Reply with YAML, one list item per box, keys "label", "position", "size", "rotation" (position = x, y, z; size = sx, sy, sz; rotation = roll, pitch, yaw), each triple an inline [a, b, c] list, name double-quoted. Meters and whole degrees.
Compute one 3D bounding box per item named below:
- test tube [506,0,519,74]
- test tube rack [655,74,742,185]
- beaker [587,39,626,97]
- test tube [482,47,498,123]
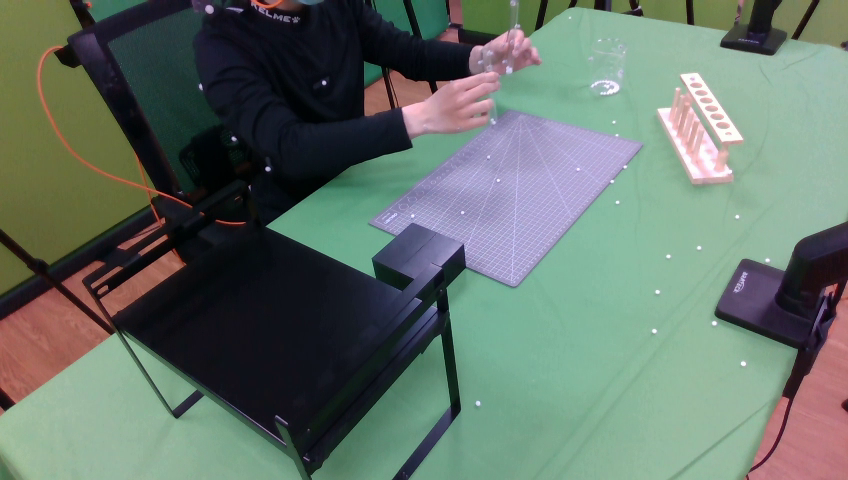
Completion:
- label: "test tube"
  position: [0.169, -0.388, 1.163]
  size: [0.017, 0.151, 0.017]
  rotation: [-1, 47, 1]
- label: "test tube rack"
  position: [0.488, -0.205, 1.093]
  size: [0.067, 0.085, 0.241]
  rotation: [-3, 41, 5]
- label: "beaker"
  position: [0.386, -0.361, 1.280]
  size: [0.074, 0.101, 0.083]
  rotation: [-22, 43, -15]
- label: "test tube"
  position: [0.117, -0.269, 1.066]
  size: [0.017, 0.151, 0.017]
  rotation: [-7, 45, 7]
